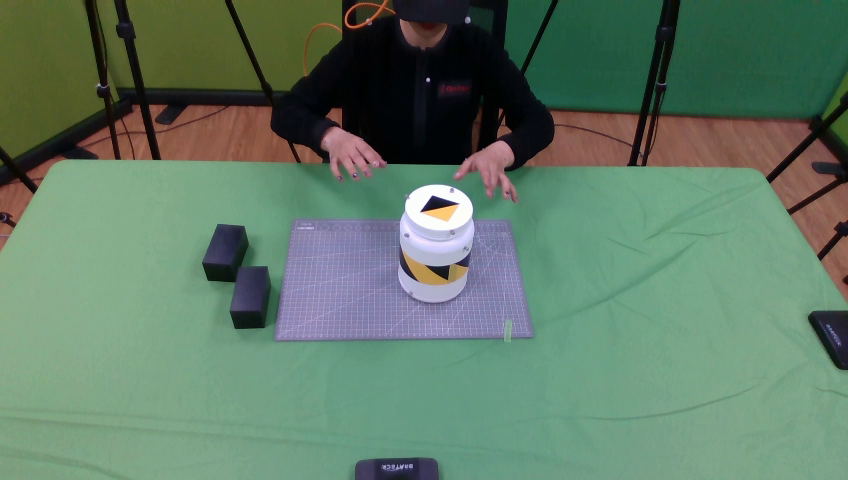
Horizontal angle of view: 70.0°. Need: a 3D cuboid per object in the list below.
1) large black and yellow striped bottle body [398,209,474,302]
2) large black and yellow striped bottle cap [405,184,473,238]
[{"bbox_3d":[0.020,0.008,1.074,0.131,0.185,0.130,2,46,-2],"label":"large black and yellow striped bottle body"},{"bbox_3d":[0.025,-0.051,1.014,0.115,0.019,0.114,2,48,-2],"label":"large black and yellow striped bottle cap"}]
